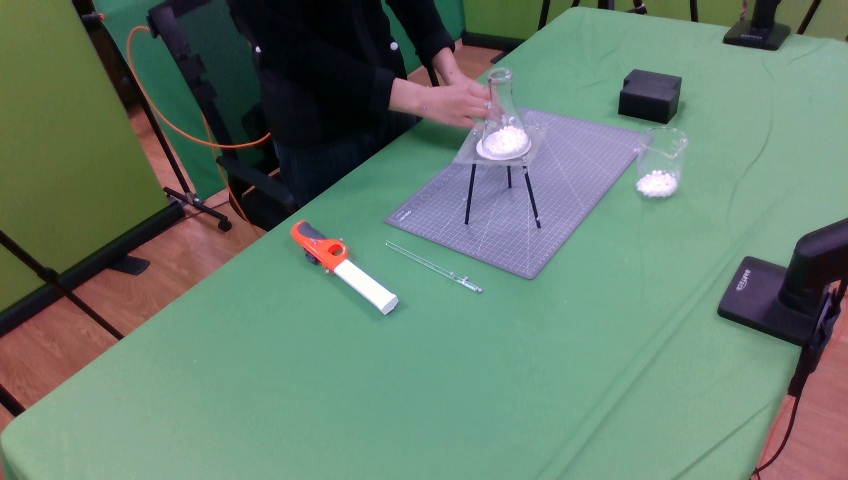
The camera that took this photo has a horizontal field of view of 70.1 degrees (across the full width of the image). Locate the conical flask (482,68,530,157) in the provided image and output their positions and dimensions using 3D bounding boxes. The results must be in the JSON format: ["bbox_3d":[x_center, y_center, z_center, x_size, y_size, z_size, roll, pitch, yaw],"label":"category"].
[{"bbox_3d":[0.118,-0.192,0.902,0.075,0.122,0.075,-7,39,6],"label":"conical flask"}]

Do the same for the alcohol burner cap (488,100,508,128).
[{"bbox_3d":[0.134,-0.233,1.102,0.034,0.048,0.033,-10,41,10],"label":"alcohol burner cap"}]

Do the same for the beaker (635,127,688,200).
[{"bbox_3d":[0.388,-0.122,0.994,0.074,0.101,0.083,-8,41,2],"label":"beaker"}]

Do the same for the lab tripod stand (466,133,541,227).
[{"bbox_3d":[0.130,-0.099,0.985,0.148,0.132,0.147,-6,38,6],"label":"lab tripod stand"}]

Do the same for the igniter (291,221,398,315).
[{"bbox_3d":[-0.136,0.037,0.962,0.057,0.025,0.274,-41,48,-18],"label":"igniter"}]

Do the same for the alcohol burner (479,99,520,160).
[{"bbox_3d":[0.139,-0.207,1.126,0.078,0.120,0.077,-7,40,6],"label":"alcohol burner"}]

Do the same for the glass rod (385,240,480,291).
[{"bbox_3d":[0.009,0.037,0.950,0.198,0.008,0.008,26,52,35],"label":"glass rod"}]

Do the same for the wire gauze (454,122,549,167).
[{"bbox_3d":[0.122,-0.149,0.943,0.121,0.011,0.125,7,44,22],"label":"wire gauze"}]
